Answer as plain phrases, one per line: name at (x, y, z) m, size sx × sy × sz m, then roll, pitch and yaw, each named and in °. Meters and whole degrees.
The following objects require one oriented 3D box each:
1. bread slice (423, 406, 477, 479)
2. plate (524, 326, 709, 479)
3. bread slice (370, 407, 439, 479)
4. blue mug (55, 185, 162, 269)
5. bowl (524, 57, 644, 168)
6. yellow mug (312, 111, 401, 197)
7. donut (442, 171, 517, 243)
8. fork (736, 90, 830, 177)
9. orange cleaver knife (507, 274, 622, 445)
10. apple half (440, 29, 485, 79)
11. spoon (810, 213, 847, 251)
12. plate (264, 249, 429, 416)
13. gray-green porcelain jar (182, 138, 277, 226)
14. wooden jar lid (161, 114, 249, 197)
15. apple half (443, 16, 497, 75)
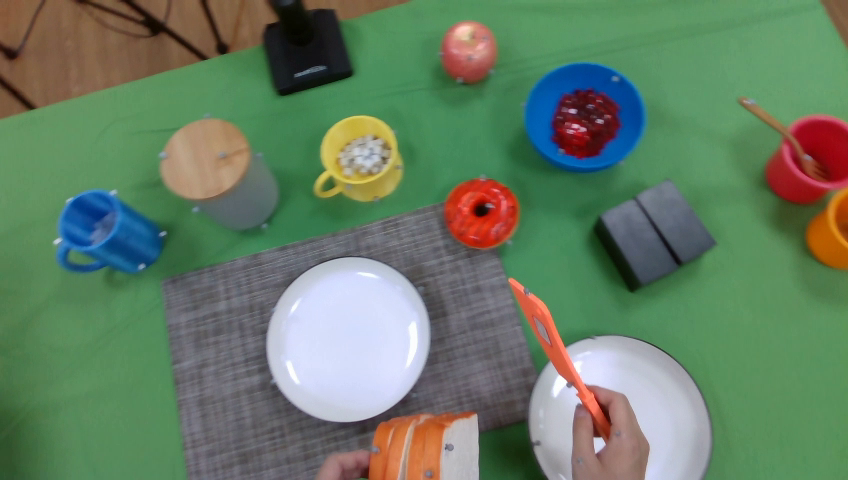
bread slice at (0.029, 0.220, 0.594) m, size 0.019 × 0.132 × 0.104 m, roll -4°, pitch 78°, yaw 20°
plate at (0.221, 0.208, 0.711) m, size 0.209 × 0.038 × 0.208 m, roll -2°, pitch 73°, yaw 5°
bread slice at (-0.015, 0.223, 0.615) m, size 0.018 × 0.135 × 0.106 m, roll -7°, pitch 72°, yaw 24°
blue mug at (-0.423, -0.004, 0.797) m, size 0.116 × 0.106 × 0.082 m, roll -41°, pitch 73°, yaw -7°
bowl at (0.205, -0.154, 0.802) m, size 0.151 × 0.077 × 0.150 m, roll -1°, pitch 73°, yaw 5°
yellow mug at (-0.097, -0.106, 0.821) m, size 0.131 × 0.064 × 0.099 m, roll -38°, pitch 74°, yaw -6°
donut at (0.072, -0.043, 0.794) m, size 0.099 × 0.048 × 0.098 m, roll -1°, pitch 74°, yaw 4°
fork at (0.441, -0.128, 0.737) m, size 0.209 × 0.018 × 0.028 m, roll 26°, pitch 71°, yaw -31°
orange cleaver knife at (0.144, 0.124, 0.626) m, size 0.012 × 0.076 × 0.212 m, roll -35°, pitch 108°, yaw -10°
apple half at (0.047, -0.250, 0.846) m, size 0.081 × 0.082 × 0.033 m, roll 39°, pitch 75°, yaw 15°
spoon at (0.548, -0.044, 0.701) m, size 0.022 × 0.194 × 0.041 m, roll -3°, pitch 63°, yaw -43°
plate at (-0.096, 0.116, 0.764) m, size 0.207 × 0.039 × 0.206 m, roll -1°, pitch 73°, yaw 5°
gray-green porcelain jar at (-0.257, -0.081, 0.795) m, size 0.106 × 0.127 × 0.105 m, roll -1°, pitch 72°, yaw 5°
wooden jar lid at (-0.263, -0.100, 0.736) m, size 0.108 × 0.021 × 0.107 m, roll -2°, pitch 71°, yaw 6°
apple half at (0.072, -0.278, 0.854) m, size 0.080 × 0.075 × 0.053 m, roll 39°, pitch 74°, yaw 19°
